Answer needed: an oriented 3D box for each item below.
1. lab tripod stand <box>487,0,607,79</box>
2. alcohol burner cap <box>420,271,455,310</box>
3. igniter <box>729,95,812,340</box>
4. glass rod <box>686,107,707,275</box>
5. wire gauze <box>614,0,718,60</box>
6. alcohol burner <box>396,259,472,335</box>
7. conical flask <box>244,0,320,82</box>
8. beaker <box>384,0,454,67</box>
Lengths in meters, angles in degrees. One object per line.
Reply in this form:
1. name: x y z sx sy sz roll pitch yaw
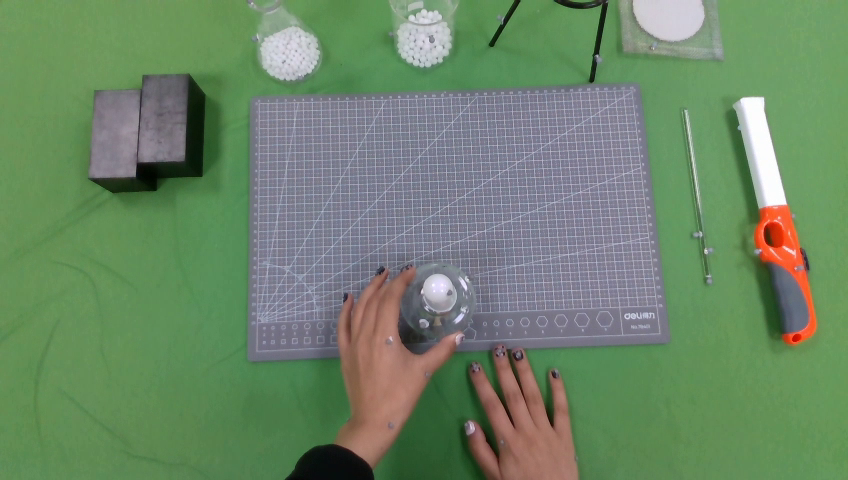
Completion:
1. lab tripod stand: 0.147 -0.256 0.656 0.148 0.132 0.148 0 80 0
2. alcohol burner cap: 0.011 0.045 0.566 0.034 0.048 0.033 -1 72 4
3. igniter: 0.381 -0.029 0.668 0.057 0.025 0.275 -4 79 -12
4. glass rod: 0.308 -0.059 0.685 0.008 0.008 0.198 0 78 -1
5. wire gauze: 0.290 -0.277 0.726 0.125 0.011 0.121 2 80 -2
6. alcohol burner: 0.011 0.054 0.601 0.078 0.119 0.077 0 76 -1
7. conical flask: -0.158 -0.230 0.652 0.075 0.122 0.075 0 78 0
8. beaker: -0.002 -0.245 0.669 0.084 0.100 0.073 -29 80 -7
